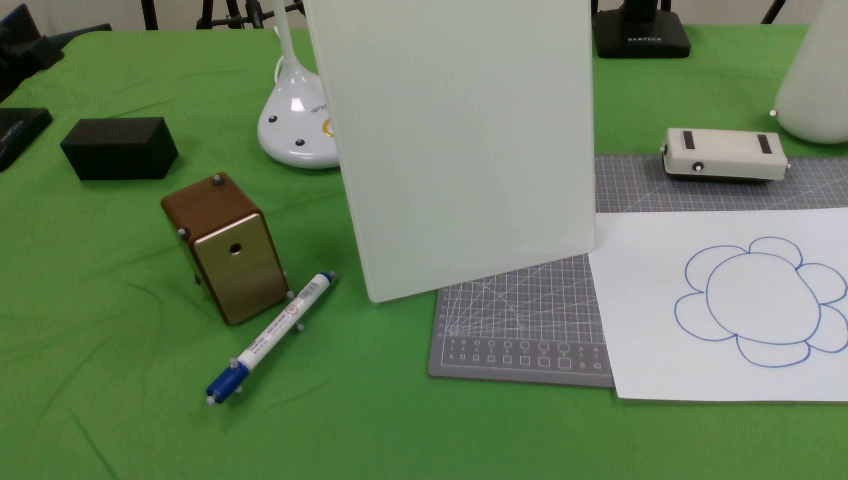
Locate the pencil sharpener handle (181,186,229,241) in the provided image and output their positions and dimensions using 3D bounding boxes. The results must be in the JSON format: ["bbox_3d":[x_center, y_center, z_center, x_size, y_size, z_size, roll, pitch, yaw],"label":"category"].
[{"bbox_3d":[-0.199,-0.027,0.547,0.036,0.068,0.030,-35,51,-17],"label":"pencil sharpener handle"}]

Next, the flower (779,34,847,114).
[{"bbox_3d":[0.440,-0.244,0.547,0.044,0.364,0.038,-16,62,-20],"label":"flower"}]

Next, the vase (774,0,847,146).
[{"bbox_3d":[0.437,-0.196,0.616,0.098,0.202,0.097,-2,44,2],"label":"vase"}]

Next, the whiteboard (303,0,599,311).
[{"bbox_3d":[0.023,-0.124,0.544,0.217,0.308,0.142,-13,25,-7],"label":"whiteboard"}]

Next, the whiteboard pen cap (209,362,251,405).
[{"bbox_3d":[-0.150,0.111,0.471,0.018,0.018,0.033,20,46,24],"label":"whiteboard pen cap"}]

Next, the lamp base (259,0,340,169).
[{"bbox_3d":[-0.131,-0.197,0.680,0.160,0.182,0.177,-34,49,-27],"label":"lamp base"}]

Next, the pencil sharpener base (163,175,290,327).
[{"bbox_3d":[-0.169,0.009,0.524,0.061,0.108,0.076,-30,49,-23],"label":"pencil sharpener base"}]

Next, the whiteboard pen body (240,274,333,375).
[{"bbox_3d":[-0.121,0.076,0.511,0.017,0.017,0.140,18,45,22],"label":"whiteboard pen body"}]

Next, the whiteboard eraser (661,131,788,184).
[{"bbox_3d":[0.304,-0.083,0.621,0.112,0.042,0.055,3,43,9],"label":"whiteboard eraser"}]
